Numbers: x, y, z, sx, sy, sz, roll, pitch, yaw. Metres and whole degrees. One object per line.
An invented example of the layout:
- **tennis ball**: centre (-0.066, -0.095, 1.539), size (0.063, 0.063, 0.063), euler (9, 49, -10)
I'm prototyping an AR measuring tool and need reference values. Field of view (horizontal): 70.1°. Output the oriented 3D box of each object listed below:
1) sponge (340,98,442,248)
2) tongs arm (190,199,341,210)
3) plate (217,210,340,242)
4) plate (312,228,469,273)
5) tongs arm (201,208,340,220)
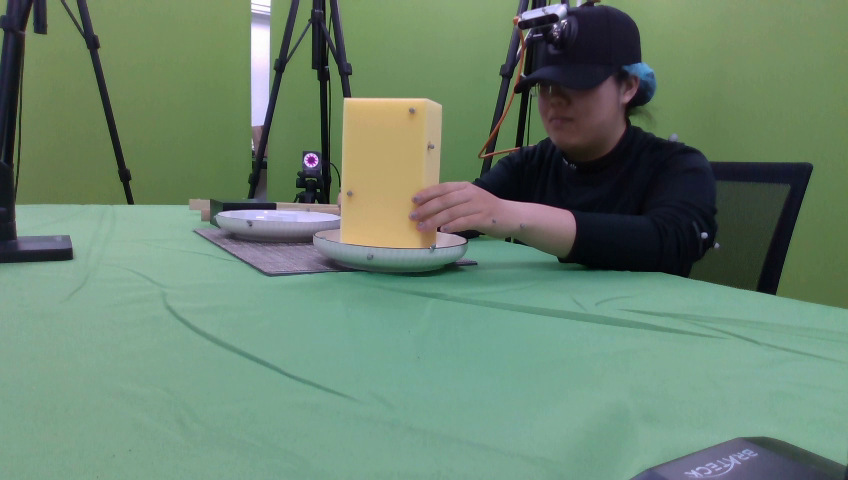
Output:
- **sponge**: centre (-0.044, -0.080, 0.798), size (0.118, 0.206, 0.061), euler (3, 4, 20)
- **tongs arm**: centre (-0.341, -0.075, 1.419), size (0.387, 0.026, 0.050), euler (0, 8, -25)
- **plate**: centre (-0.241, -0.024, 1.026), size (0.208, 0.039, 0.207), euler (3, 7, 0)
- **plate**: centre (-0.044, 0.013, 0.807), size (0.209, 0.038, 0.209), euler (2, 7, 0)
- **tongs arm**: centre (-0.302, -0.060, 1.350), size (0.390, 0.028, 0.028), euler (-3, 6, -38)
